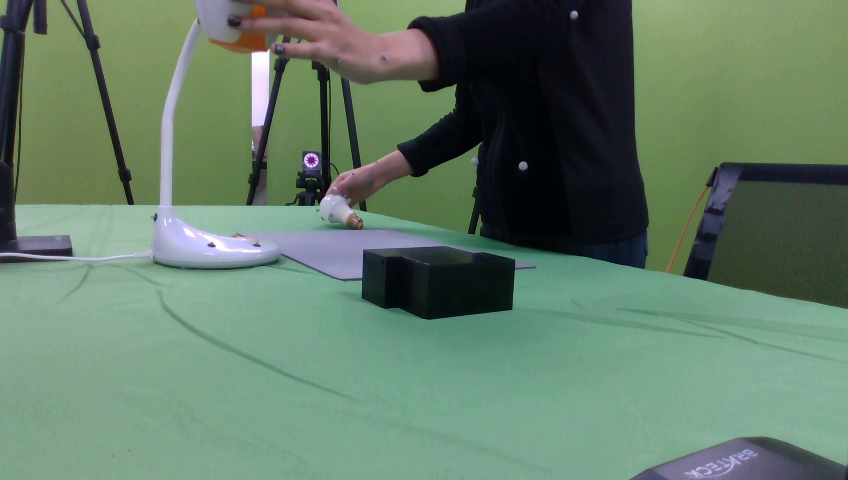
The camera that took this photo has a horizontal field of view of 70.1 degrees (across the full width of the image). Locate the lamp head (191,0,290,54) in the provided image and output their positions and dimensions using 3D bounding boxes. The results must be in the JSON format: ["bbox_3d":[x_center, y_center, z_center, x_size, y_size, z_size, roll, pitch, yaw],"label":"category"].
[{"bbox_3d":[-0.187,-0.252,0.607,0.112,0.123,0.112,10,20,-4],"label":"lamp head"}]

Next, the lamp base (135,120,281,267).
[{"bbox_3d":[-0.276,-0.061,0.773,0.180,0.180,0.160,-9,13,-44],"label":"lamp base"}]

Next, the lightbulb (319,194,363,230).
[{"bbox_3d":[-0.165,-0.052,1.223,0.107,0.059,0.060,33,20,23],"label":"lightbulb"}]
